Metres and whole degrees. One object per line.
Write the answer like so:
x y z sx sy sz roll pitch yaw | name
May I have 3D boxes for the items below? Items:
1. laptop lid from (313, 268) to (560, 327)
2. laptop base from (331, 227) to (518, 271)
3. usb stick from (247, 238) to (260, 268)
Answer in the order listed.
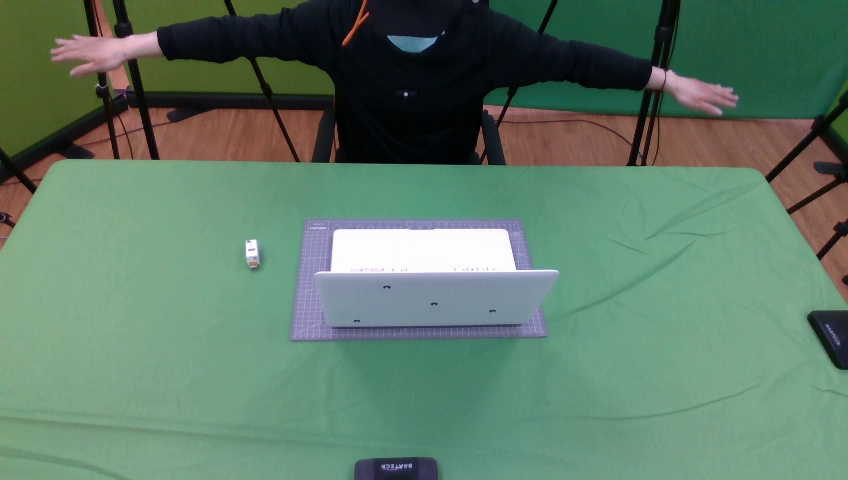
0.015 0.095 0.949 0.357 0.242 0.013 0 64 -5 | laptop lid
0.003 0.062 1.135 0.355 0.023 0.234 0 43 -4 | laptop base
-0.322 0.026 1.144 0.021 0.027 0.059 -7 50 -12 | usb stick
